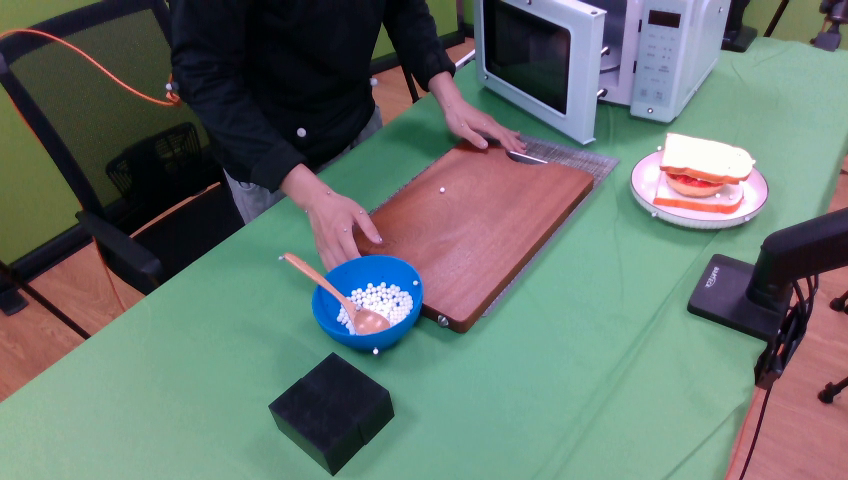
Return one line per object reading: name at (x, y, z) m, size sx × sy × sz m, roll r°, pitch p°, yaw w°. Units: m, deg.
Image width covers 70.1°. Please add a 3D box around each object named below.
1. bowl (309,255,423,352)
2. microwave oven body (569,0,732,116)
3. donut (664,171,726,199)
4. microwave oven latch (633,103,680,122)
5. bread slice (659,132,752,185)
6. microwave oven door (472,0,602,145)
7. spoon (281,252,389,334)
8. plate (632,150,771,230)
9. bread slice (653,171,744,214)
bowl at (-0.072, 0.098, 0.820) m, size 0.151 × 0.077 × 0.150 m, roll -4°, pitch 40°, yaw 4°
microwave oven body at (0.377, -0.463, 1.267) m, size 0.438 × 0.261 × 0.327 m, roll 21°, pitch 49°, yaw 30°
donut at (0.438, -0.105, 0.973) m, size 0.099 × 0.048 × 0.098 m, roll -10°, pitch 42°, yaw 9°
microwave oven latch at (0.444, -0.249, 1.157) m, size 0.078 × 0.029 × 0.030 m, roll 21°, pitch 49°, yaw 30°
bread slice at (0.443, -0.126, 0.952) m, size 0.134 × 0.018 × 0.107 m, roll 14°, pitch 43°, yaw 14°
microwave oven door at (0.206, -0.362, 1.167) m, size 0.039 × 0.245 × 0.352 m, roll -25°, pitch 44°, yaw -20°
spoon at (-0.123, 0.071, 0.811) m, size 0.193 × 0.022 × 0.042 m, roll 39°, pitch 64°, yaw 16°
plate at (0.447, -0.081, 0.988) m, size 0.207 × 0.039 × 0.206 m, roll -4°, pitch 40°, yaw 4°
bread slice at (0.453, -0.084, 0.992) m, size 0.131 × 0.019 × 0.105 m, roll 11°, pitch 45°, yaw 21°
